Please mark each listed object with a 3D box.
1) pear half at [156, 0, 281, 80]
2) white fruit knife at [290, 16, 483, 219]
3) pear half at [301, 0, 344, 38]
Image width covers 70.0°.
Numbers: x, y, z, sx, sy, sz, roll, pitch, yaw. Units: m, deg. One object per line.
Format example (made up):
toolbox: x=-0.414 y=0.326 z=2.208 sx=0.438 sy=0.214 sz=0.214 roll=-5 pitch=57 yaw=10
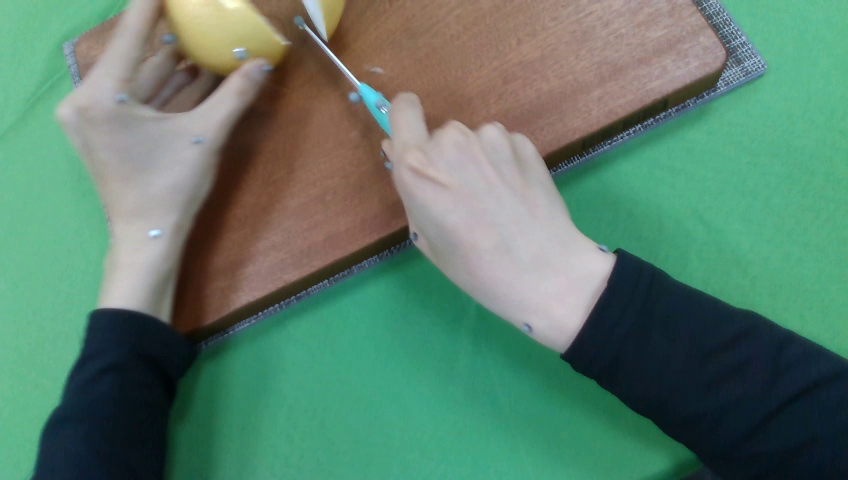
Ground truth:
pear half: x=-0.143 y=-0.142 z=0.380 sx=0.076 sy=0.111 sz=0.056 roll=39 pitch=87 yaw=24
white fruit knife: x=-0.033 y=-0.086 z=0.376 sx=0.016 sy=0.028 sz=0.205 roll=-41 pitch=63 yaw=-2
pear half: x=-0.067 y=-0.177 z=0.389 sx=0.031 sy=0.089 sz=0.069 roll=-23 pitch=56 yaw=-21
